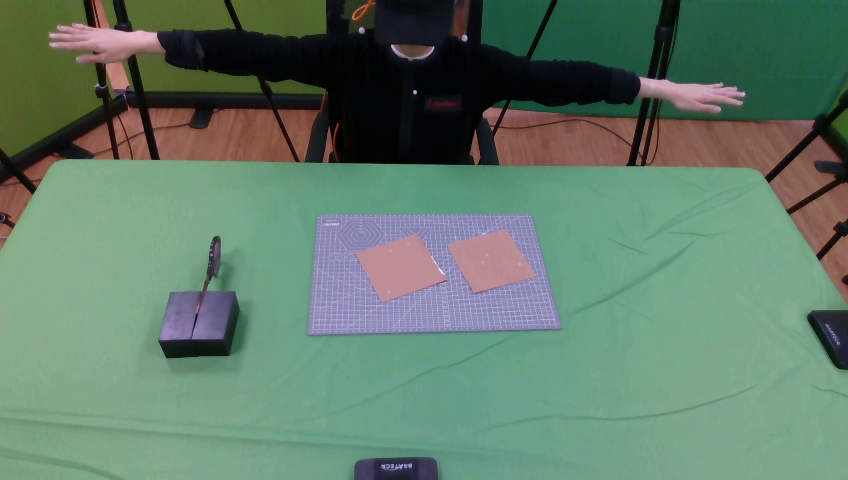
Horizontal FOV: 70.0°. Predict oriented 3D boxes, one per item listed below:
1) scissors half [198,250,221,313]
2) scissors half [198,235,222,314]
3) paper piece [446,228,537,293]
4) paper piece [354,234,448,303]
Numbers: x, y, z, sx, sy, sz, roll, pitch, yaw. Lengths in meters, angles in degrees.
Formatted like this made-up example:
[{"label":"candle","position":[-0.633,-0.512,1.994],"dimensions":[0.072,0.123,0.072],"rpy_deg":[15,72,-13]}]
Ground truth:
[{"label":"scissors half","position":[-0.379,0.073,1.070],"dimensions":[0.013,0.040,0.174],"rpy_deg":[6,32,-9]},{"label":"scissors half","position":[-0.374,0.058,1.057],"dimensions":[0.013,0.040,0.174],"rpy_deg":[9,49,-13]},{"label":"paper piece","position":[0.130,0.037,1.177],"dimensions":[0.136,0.004,0.134],"rpy_deg":[-14,49,-16]},{"label":"paper piece","position":[-0.045,0.049,1.154],"dimensions":[0.138,0.009,0.135],"rpy_deg":[-17,46,-18]}]
